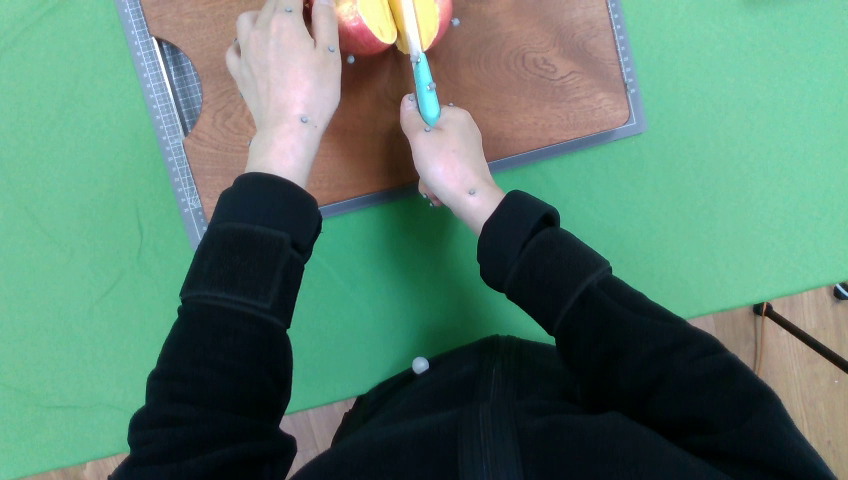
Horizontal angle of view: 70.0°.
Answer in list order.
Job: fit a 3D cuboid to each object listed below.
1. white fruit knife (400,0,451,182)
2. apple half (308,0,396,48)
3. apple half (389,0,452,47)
[{"bbox_3d":[-0.005,-0.152,0.508,0.016,0.027,0.208,-15,98,-24],"label":"white fruit knife"},{"bbox_3d":[-0.064,-0.195,0.501,0.053,0.074,0.081,-19,96,24],"label":"apple half"},{"bbox_3d":[-0.001,-0.203,0.511,0.033,0.081,0.081,-16,98,-33],"label":"apple half"}]
